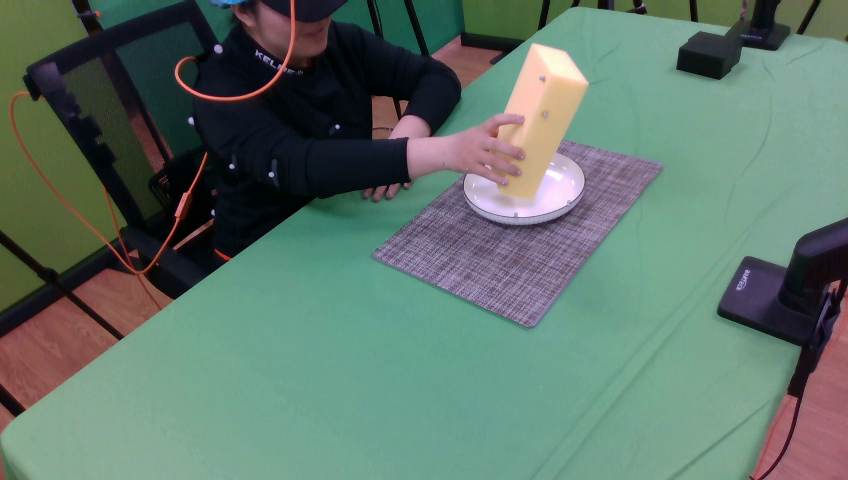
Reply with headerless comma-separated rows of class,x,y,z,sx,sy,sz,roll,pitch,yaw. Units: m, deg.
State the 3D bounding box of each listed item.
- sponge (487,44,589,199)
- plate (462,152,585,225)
sponge,0.172,-0.183,0.953,0.061,0.207,0.117,10,35,-16
plate,0.170,-0.089,1.041,0.207,0.039,0.206,-5,40,5
